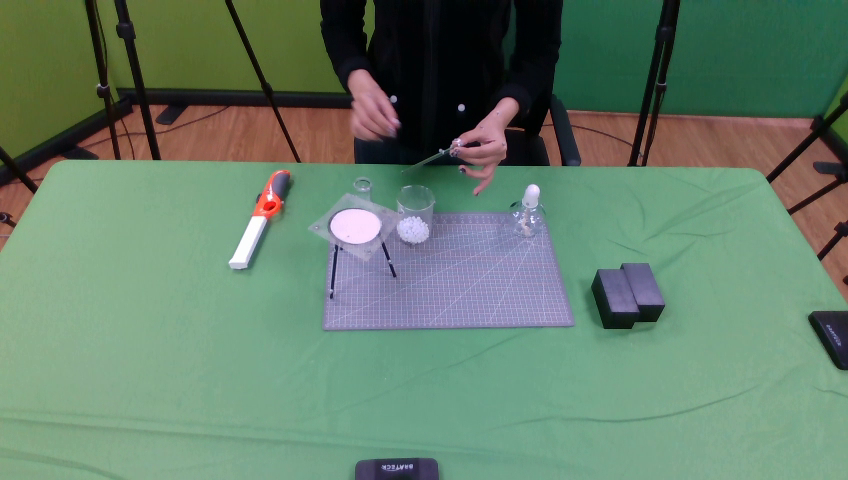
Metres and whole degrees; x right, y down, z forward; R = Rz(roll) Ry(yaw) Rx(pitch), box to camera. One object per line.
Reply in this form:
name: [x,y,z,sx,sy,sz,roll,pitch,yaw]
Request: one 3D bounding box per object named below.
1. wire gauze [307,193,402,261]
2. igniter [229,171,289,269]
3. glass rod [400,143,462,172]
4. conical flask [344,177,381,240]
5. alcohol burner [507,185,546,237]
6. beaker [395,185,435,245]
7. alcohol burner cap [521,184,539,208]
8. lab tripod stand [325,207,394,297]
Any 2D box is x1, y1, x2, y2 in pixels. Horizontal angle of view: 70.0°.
wire gauze: [-0.119,-0.028,1.043,0.125,0.011,0.121,24,47,17]
igniter: [-0.328,-0.049,1.218,0.057,0.025,0.275,1,45,11]
glass rod: [0.009,-0.150,1.115,0.008,0.199,0.008,6,79,-32]
conical flask: [-0.121,-0.065,1.180,0.075,0.122,0.075,2,46,-2]
alcohol burner: [0.208,-0.063,1.210,0.078,0.119,0.077,3,44,-3]
beaker: [-0.022,-0.048,1.187,0.074,0.101,0.083,-28,53,-28]
alcohol burner cap: [0.210,-0.087,1.183,0.034,0.048,0.033,1,52,-1]
lab tripod stand: [-0.124,0.017,1.092,0.148,0.132,0.147,3,44,-3]
